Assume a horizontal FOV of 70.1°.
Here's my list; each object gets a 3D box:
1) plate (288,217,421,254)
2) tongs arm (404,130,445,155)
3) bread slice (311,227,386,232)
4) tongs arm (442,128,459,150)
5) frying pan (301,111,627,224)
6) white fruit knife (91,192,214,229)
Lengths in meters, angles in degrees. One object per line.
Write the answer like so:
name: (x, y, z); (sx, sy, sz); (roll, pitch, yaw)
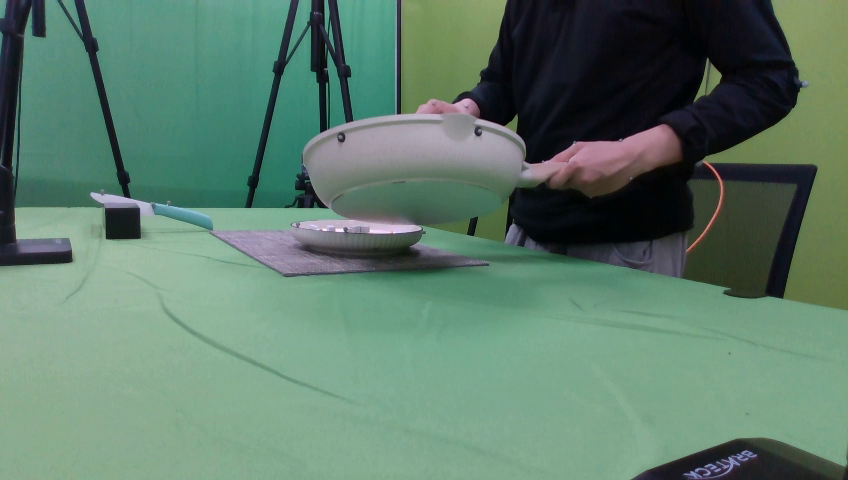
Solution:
plate: (-0.109, -0.008, 0.957); (0.208, 0.039, 0.207); (2, 8, 0)
tongs arm: (0.007, -0.151, 0.916); (0.051, 0.026, 0.384); (-9, 10, 3)
bread slice: (-0.115, -0.005, 0.950); (0.134, 0.018, 0.107); (4, 6, -7)
tongs arm: (0.037, -0.154, 0.913); (0.028, 0.028, 0.387); (-12, 9, 6)
frying pan: (0.084, -0.093, 0.832); (0.490, 0.102, 0.306); (-7, -8, -22)
white fruit knife: (-0.478, -0.055, 1.077); (0.208, 0.027, 0.016); (14, -2, -30)
